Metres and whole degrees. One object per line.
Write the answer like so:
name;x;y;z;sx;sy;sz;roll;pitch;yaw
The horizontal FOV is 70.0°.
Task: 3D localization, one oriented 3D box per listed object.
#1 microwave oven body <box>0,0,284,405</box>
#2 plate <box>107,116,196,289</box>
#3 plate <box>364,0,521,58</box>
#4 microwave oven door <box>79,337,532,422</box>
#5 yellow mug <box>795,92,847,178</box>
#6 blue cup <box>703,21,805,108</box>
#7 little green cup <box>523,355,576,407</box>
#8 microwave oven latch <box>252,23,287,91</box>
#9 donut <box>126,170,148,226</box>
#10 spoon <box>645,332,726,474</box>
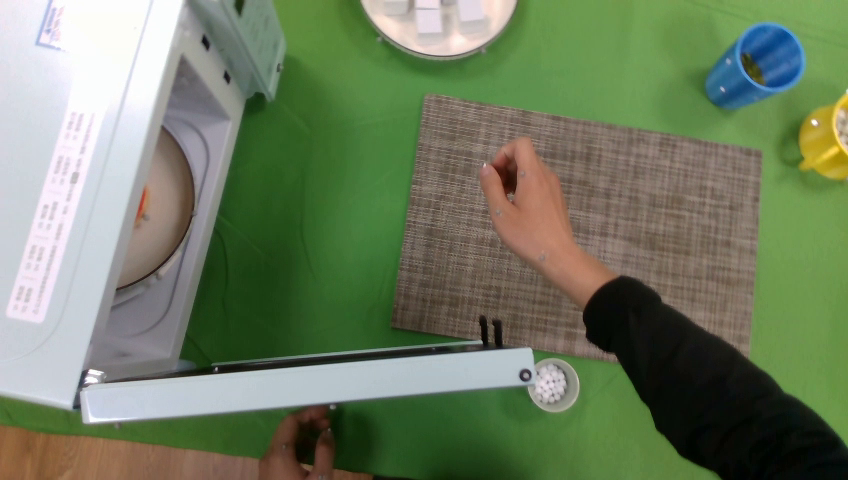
microwave oven body;-0.362;-0.096;0.604;0.326;0.260;0.440;12;82;-3
plate;-0.350;-0.048;0.651;0.209;0.038;0.208;1;83;-5
plate;0.022;-0.329;0.779;0.208;0.039;0.207;1;82;-4
microwave oven door;-0.095;0.128;0.590;0.356;0.244;0.039;-4;82;-5
yellow mug;0.536;-0.128;0.777;0.131;0.064;0.100;-32;86;-7
blue cup;0.404;-0.210;0.761;0.093;0.100;0.092;0;84;-4
little green cup;0.147;0.167;0.724;0.061;0.039;0.061;1;80;-3
microwave oven latch;-0.188;-0.223;0.730;0.030;0.029;0.079;16;82;-2
donut;-0.345;-0.053;0.641;0.099;0.048;0.099;0;83;-3
spoon;0.321;0.200;0.738;0.041;0.021;0.193;-27;87;-23
